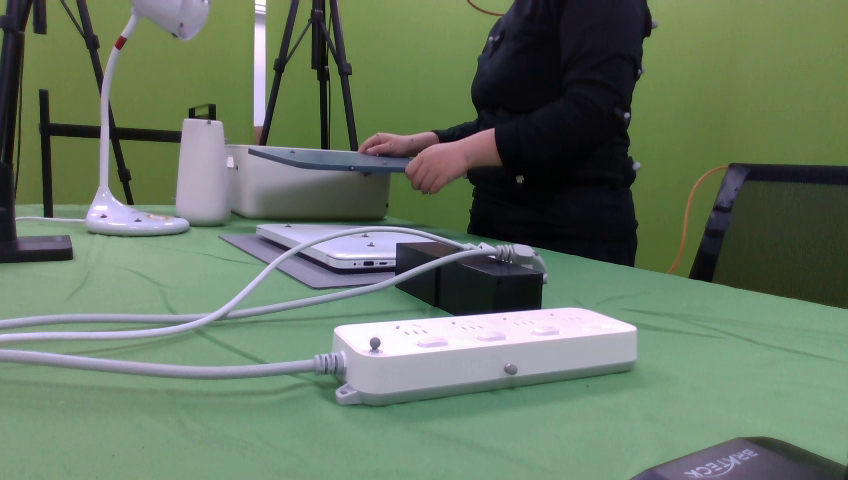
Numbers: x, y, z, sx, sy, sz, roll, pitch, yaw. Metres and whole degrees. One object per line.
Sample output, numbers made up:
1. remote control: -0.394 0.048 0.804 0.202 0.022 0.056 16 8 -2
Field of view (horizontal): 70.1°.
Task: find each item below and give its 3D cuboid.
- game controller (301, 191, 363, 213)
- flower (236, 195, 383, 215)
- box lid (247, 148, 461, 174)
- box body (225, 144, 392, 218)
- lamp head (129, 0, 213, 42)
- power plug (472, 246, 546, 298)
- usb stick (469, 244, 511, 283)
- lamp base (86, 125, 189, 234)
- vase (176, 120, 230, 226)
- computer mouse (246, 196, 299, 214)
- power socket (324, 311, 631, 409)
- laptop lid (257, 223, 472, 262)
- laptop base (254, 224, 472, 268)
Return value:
1. game controller: -0.240 -0.098 1.550 0.155 0.051 0.097 3 9 5
2. flower: -0.282 -0.079 1.492 0.362 0.038 0.044 4 36 2
3. box lid: -0.137 -0.156 1.207 0.374 0.015 0.262 -4 15 -39
4. box body: -0.289 -0.143 1.475 0.366 0.160 0.253 -1 9 -29
5. lamp head: -0.423 -0.394 0.980 0.123 0.112 0.112 20 7 -3
6. power plug: 0.081 0.030 0.584 0.072 0.052 0.035 11 28 9
7. usb stick: 0.080 0.029 0.674 0.059 0.021 0.027 28 26 -29
8. lamp base: -0.497 -0.105 1.027 0.179 0.180 0.160 1 7 3
9. vase: -0.425 -0.128 1.159 0.098 0.200 0.098 2 9 0
10. computer mouse: -0.354 -0.083 1.418 0.117 0.041 0.063 0 10 7
11. power socket: 0.042 0.075 0.410 0.228 0.032 0.072 -1 8 -25
12. laptop lid: -0.092 0.000 0.912 0.243 0.013 0.355 1 7 -30
13. laptop base: -0.096 0.010 0.911 0.237 0.023 0.352 4 6 -32
